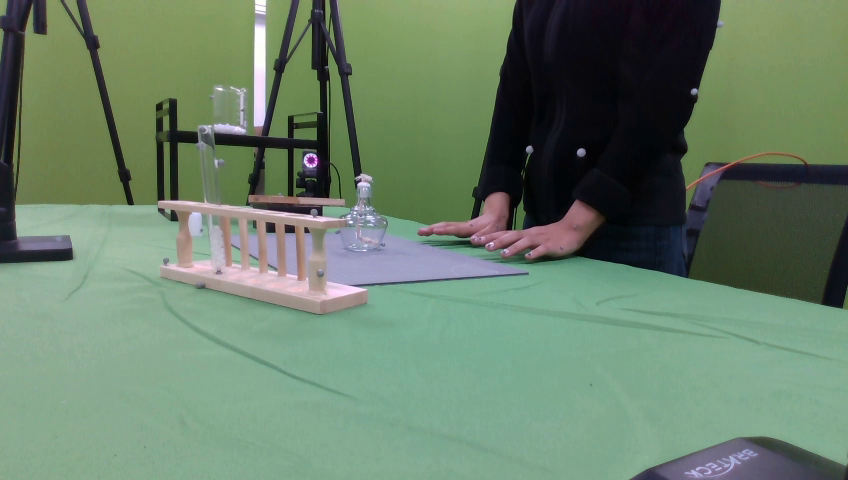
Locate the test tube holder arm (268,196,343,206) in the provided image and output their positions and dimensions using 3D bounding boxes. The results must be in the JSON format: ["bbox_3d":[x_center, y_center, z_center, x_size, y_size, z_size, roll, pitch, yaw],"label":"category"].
[{"bbox_3d":[-0.241,-0.075,1.152,0.179,0.015,0.013,0,8,-24],"label":"test tube holder arm"}]

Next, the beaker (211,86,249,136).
[{"bbox_3d":[-0.413,-0.274,1.297,0.074,0.100,0.083,-5,11,-44],"label":"beaker"}]

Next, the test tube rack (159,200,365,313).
[{"bbox_3d":[-0.173,0.009,0.624,0.241,0.085,0.067,7,9,34],"label":"test tube rack"}]

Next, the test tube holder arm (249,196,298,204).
[{"bbox_3d":[-0.281,-0.074,1.129,0.088,0.015,0.010,1,9,-22],"label":"test tube holder arm"}]

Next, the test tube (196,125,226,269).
[{"bbox_3d":[-0.221,-0.043,0.629,0.017,0.150,0.017,-3,8,1],"label":"test tube"}]

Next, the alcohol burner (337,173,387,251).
[{"bbox_3d":[-0.095,-0.043,0.926,0.078,0.119,0.078,3,6,0],"label":"alcohol burner"}]

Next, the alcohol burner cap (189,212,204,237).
[{"bbox_3d":[-0.389,-0.029,1.026,0.034,0.048,0.034,2,9,0],"label":"alcohol burner cap"}]
